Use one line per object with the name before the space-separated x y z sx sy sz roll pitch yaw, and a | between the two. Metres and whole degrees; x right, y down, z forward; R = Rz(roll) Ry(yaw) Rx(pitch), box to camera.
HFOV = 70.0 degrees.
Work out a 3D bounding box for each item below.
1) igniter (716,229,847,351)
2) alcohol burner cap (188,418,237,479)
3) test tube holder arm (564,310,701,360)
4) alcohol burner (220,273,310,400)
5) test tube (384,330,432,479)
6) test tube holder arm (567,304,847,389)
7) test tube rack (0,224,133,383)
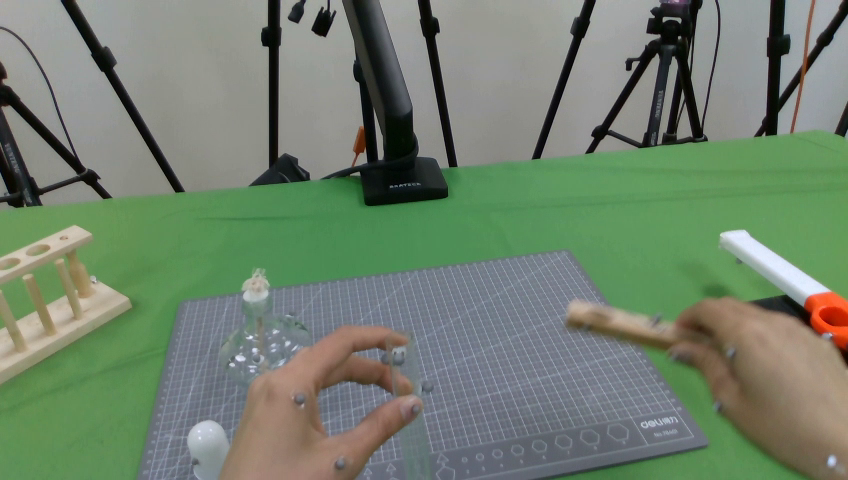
igniter | 0.357 0.060 0.538 0.057 0.025 0.273 -8 29 -9
alcohol burner cap | -0.167 0.160 0.470 0.034 0.048 0.033 -1 32 1
test tube holder arm | 0.139 0.064 0.407 0.087 0.015 0.010 11 44 13
alcohol burner | -0.140 0.080 0.528 0.078 0.120 0.077 -1 30 1
test tube | -0.006 0.115 0.357 0.017 0.151 0.017 -5 30 3
test tube holder arm | 0.183 0.069 0.401 0.178 0.015 0.013 11 44 13
test tube rack | -0.413 0.081 0.570 0.066 0.086 0.242 20 38 30
